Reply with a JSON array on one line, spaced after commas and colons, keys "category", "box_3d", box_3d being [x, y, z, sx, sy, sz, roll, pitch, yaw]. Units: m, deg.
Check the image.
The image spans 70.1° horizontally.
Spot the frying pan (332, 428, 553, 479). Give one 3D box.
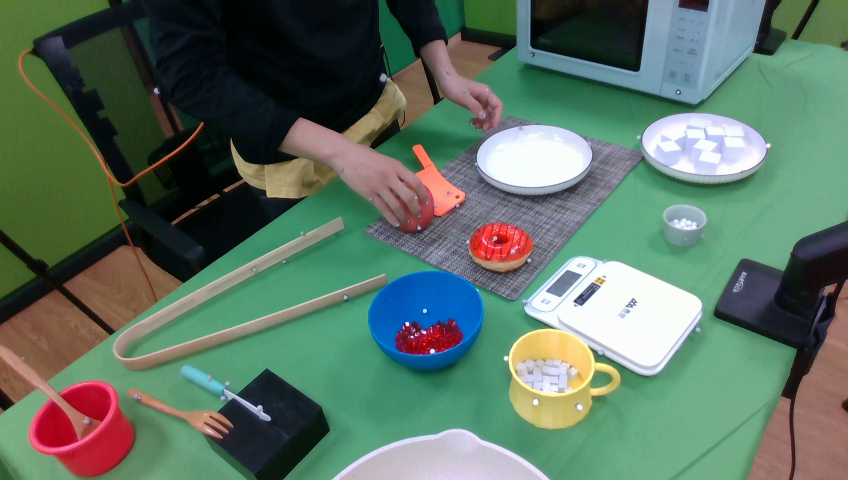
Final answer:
[{"category": "frying pan", "box_3d": [-0.089, 0.306, 0.564, 0.487, 0.103, 0.306, 10, 41, 7]}]

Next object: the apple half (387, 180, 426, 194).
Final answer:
[{"category": "apple half", "box_3d": [-0.028, -0.072, 1.014, 0.081, 0.081, 0.032, -12, 45, -5]}]

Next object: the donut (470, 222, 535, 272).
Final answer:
[{"category": "donut", "box_3d": [0.119, 0.009, 0.923, 0.099, 0.048, 0.098, -4, 38, 3]}]

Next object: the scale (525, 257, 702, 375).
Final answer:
[{"category": "scale", "box_3d": [0.254, 0.091, 0.821, 0.199, 0.032, 0.149, 28, 51, 35]}]

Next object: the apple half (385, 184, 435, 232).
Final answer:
[{"category": "apple half", "box_3d": [-0.020, -0.046, 0.987, 0.081, 0.075, 0.053, -8, 45, -9]}]

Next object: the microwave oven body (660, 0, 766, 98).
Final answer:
[{"category": "microwave oven body", "box_3d": [0.472, -0.513, 1.317, 0.438, 0.261, 0.327, 26, 51, 34]}]

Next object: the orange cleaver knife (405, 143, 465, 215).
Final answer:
[{"category": "orange cleaver knife", "box_3d": [0.005, -0.113, 1.102, 0.077, 0.012, 0.209, -24, 45, -9]}]

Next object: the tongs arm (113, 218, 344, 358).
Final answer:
[{"category": "tongs arm", "box_3d": [-0.280, 0.067, 0.926, 0.386, 0.026, 0.050, -29, 48, -23]}]

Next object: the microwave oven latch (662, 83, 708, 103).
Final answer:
[{"category": "microwave oven latch", "box_3d": [0.517, -0.296, 1.204, 0.078, 0.029, 0.030, 28, 52, 35]}]

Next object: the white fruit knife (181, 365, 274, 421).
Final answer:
[{"category": "white fruit knife", "box_3d": [-0.246, 0.187, 0.747, 0.205, 0.027, 0.016, 9, 41, 40]}]

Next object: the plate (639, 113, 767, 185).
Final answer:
[{"category": "plate", "box_3d": [0.489, -0.157, 1.074, 0.207, 0.039, 0.206, -4, 40, 4]}]

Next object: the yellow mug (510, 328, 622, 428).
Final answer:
[{"category": "yellow mug", "box_3d": [0.169, 0.164, 0.722, 0.130, 0.064, 0.099, 0, 41, 8]}]

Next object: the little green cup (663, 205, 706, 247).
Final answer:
[{"category": "little green cup", "box_3d": [0.396, -0.020, 0.926, 0.061, 0.039, 0.061, -4, 40, 4]}]

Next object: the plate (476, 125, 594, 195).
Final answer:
[{"category": "plate", "box_3d": [0.199, -0.141, 1.093, 0.209, 0.038, 0.208, -4, 40, 4]}]

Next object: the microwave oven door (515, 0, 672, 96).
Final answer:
[{"category": "microwave oven door", "box_3d": [0.343, -0.454, 1.259, 0.353, 0.245, 0.039, 26, 51, 33]}]

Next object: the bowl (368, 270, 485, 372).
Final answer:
[{"category": "bowl", "box_3d": [0.007, 0.118, 0.791, 0.151, 0.077, 0.150, -5, 40, 4]}]

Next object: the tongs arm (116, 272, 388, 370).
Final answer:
[{"category": "tongs arm", "box_3d": [-0.236, 0.113, 0.869, 0.389, 0.028, 0.028, -18, 48, -13]}]

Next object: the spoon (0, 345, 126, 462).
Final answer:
[{"category": "spoon", "box_3d": [-0.434, 0.192, 0.720, 0.194, 0.021, 0.042, 47, 54, -7]}]

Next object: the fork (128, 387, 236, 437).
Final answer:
[{"category": "fork", "box_3d": [-0.305, 0.207, 0.744, 0.206, 0.019, 0.028, 3, 42, 36]}]
